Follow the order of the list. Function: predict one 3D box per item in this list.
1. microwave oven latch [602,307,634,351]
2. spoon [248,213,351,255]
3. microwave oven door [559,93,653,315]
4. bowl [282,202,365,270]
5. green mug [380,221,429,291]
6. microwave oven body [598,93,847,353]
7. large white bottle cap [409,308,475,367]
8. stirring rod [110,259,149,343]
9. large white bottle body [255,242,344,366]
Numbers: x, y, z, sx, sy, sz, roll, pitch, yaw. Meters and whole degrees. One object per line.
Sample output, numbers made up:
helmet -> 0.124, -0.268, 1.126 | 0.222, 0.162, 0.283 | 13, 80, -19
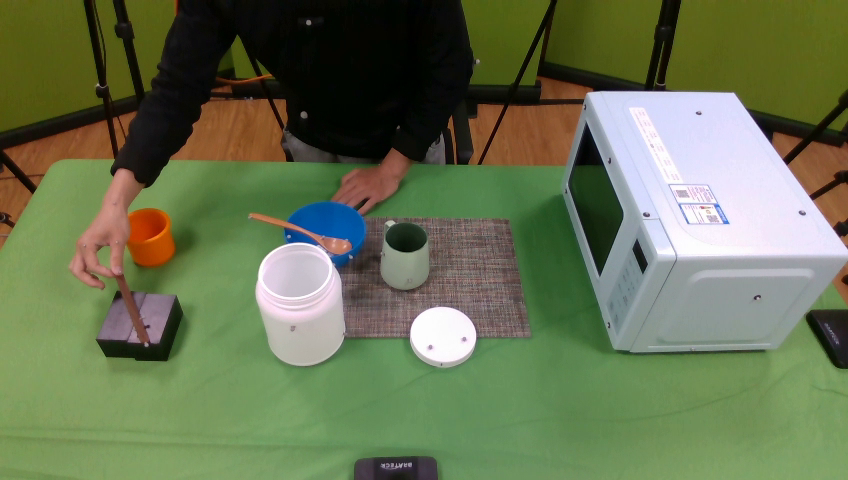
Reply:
microwave oven latch -> 0.332, 0.153, 1.044 | 0.030, 0.029, 0.078 | -1, 45, -4
spoon -> -0.228, -0.014, 1.113 | 0.194, 0.022, 0.041 | 23, 42, -15
microwave oven door -> 0.327, -0.074, 1.123 | 0.039, 0.245, 0.353 | -1, 46, -5
bowl -> -0.185, 0.006, 1.137 | 0.151, 0.077, 0.150 | 3, 46, -3
green mug -> -0.043, 0.020, 1.116 | 0.092, 0.105, 0.124 | -20, 50, -21
microwave oven body -> 0.475, -0.041, 1.109 | 0.326, 0.261, 0.438 | -1, 45, -4
large white bottle cap -> 0.031, 0.165, 1.041 | 0.115, 0.018, 0.114 | 2, 47, -2
stirring rod -> -0.479, 0.096, 0.984 | 0.014, 0.006, 0.175 | -1, 47, -48
large white bottle body -> -0.196, 0.102, 0.967 | 0.131, 0.185, 0.130 | 2, 49, -2
